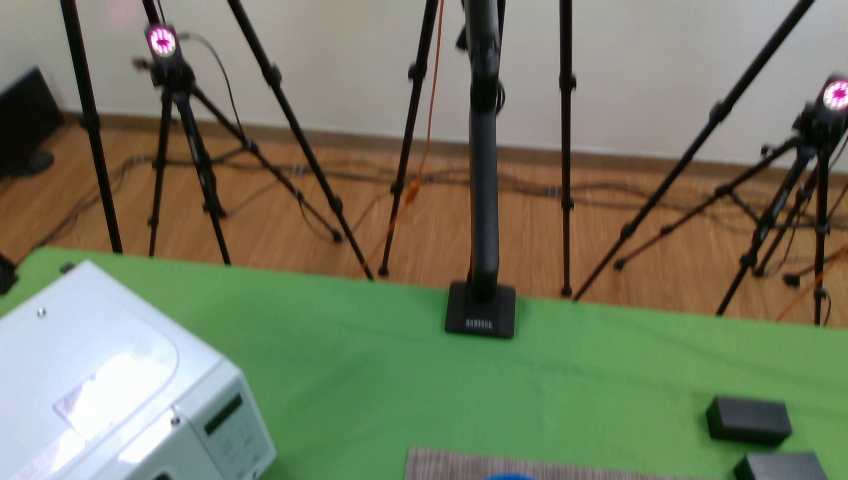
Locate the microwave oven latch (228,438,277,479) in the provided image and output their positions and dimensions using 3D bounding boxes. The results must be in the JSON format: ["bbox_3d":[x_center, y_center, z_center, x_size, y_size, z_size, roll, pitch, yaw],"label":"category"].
[{"bbox_3d":[-0.242,0.308,0.848,0.030,0.030,0.079,30,54,23],"label":"microwave oven latch"}]

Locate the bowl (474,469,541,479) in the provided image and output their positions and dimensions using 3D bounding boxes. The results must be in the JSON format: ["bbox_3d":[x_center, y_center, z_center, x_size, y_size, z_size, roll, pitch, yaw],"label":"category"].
[{"bbox_3d":[0.108,0.382,0.775,0.151,0.077,0.150,0,47,0],"label":"bowl"}]

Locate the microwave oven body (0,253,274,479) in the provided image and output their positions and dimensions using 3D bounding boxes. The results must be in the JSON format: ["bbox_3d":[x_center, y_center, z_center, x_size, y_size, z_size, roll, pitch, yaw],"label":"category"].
[{"bbox_3d":[-0.465,0.286,0.734,0.324,0.262,0.440,28,54,22],"label":"microwave oven body"}]

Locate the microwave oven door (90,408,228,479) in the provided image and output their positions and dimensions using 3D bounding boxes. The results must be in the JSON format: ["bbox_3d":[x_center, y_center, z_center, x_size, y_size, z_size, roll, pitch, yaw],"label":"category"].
[{"bbox_3d":[-0.370,0.369,0.651,0.039,0.246,0.355,27,53,23],"label":"microwave oven door"}]
